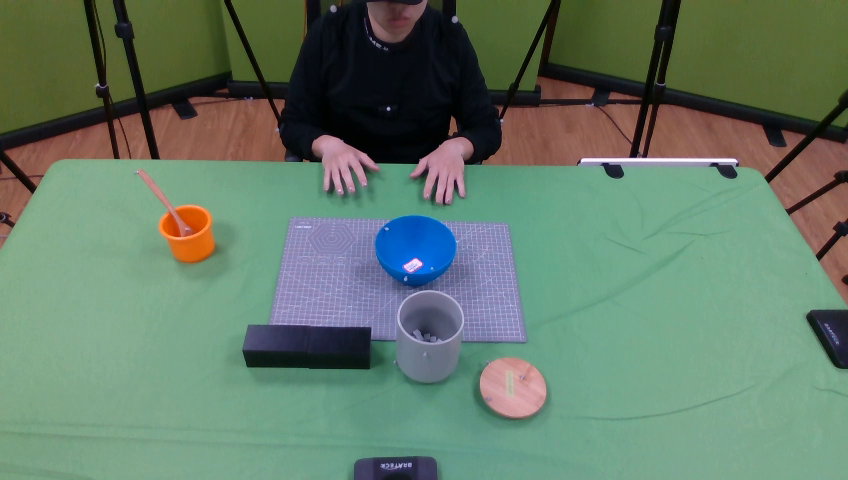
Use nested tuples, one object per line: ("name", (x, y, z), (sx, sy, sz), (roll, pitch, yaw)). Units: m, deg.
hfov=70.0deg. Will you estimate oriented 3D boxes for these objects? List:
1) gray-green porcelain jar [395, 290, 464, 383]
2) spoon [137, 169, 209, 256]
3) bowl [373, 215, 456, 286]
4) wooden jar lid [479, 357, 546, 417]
("gray-green porcelain jar", (0.006, 0.160, 0.972), (0.106, 0.127, 0.105), (2, 46, -2))
("spoon", (-0.466, -0.051, 1.123), (0.041, 0.194, 0.021), (-40, 17, -34))
("bowl", (-0.019, 0.032, 1.123), (0.151, 0.077, 0.150), (2, 46, -2))
("wooden jar lid", (0.142, 0.240, 0.979), (0.108, 0.021, 0.107), (1, 46, -1))
